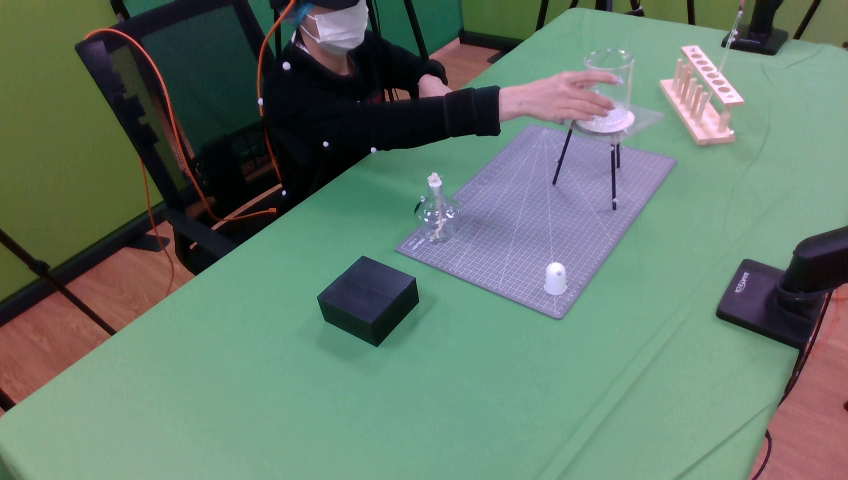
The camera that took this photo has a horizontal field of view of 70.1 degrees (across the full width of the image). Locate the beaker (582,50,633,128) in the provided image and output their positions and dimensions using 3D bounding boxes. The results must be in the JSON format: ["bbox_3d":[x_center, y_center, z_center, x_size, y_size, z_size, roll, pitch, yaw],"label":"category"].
[{"bbox_3d":[0.285,-0.233,0.940,0.084,0.101,0.073,-29,43,-22],"label":"beaker"}]

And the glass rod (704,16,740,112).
[{"bbox_3d":[0.549,-0.319,1.117,0.008,0.200,0.008,-2,47,3],"label":"glass rod"}]

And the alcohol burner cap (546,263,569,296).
[{"bbox_3d":[0.191,0.053,0.862,0.034,0.048,0.033,-5,40,4],"label":"alcohol burner cap"}]

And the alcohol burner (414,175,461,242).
[{"bbox_3d":[0.020,-0.055,0.963,0.078,0.119,0.077,-3,42,3],"label":"alcohol burner"}]

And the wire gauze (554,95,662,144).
[{"bbox_3d":[0.293,-0.192,0.964,0.125,0.011,0.120,-29,45,-29],"label":"wire gauze"}]

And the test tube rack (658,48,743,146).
[{"bbox_3d":[0.532,-0.284,1.180,0.067,0.085,0.241,-5,40,4],"label":"test tube rack"}]

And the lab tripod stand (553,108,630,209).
[{"bbox_3d":[0.292,-0.144,1.010,0.148,0.132,0.147,-5,38,4],"label":"lab tripod stand"}]
